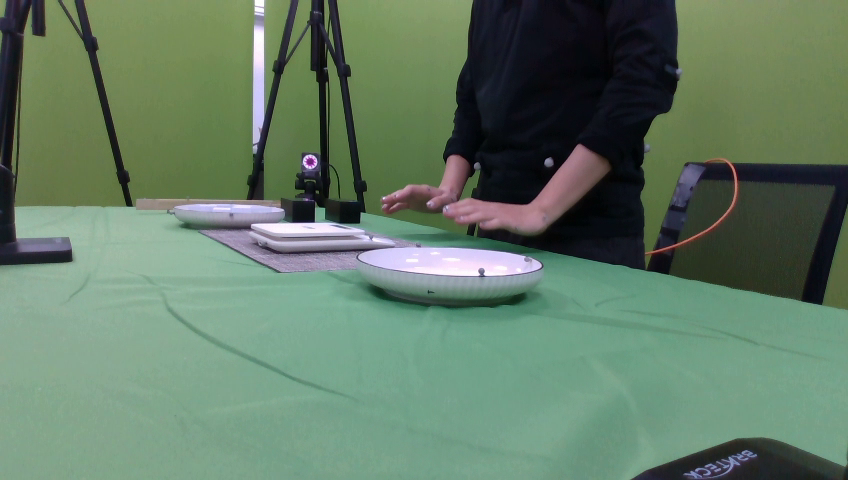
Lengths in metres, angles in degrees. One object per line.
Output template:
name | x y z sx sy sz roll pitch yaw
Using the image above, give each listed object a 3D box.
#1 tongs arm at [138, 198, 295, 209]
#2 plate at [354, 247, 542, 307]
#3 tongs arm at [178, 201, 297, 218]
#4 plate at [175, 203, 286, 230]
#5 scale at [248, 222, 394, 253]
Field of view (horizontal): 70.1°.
tongs arm | -0.489 -0.086 1.472 0.050 0.026 0.387 10 9 42
plate | 0.025 0.039 0.672 0.209 0.038 0.209 3 7 0
tongs arm | -0.418 -0.073 1.420 0.028 0.028 0.389 3 6 28
plate | -0.380 -0.047 1.199 0.208 0.039 0.207 2 7 0
scale | -0.162 -0.006 0.954 0.202 0.031 0.148 -1 9 -32
